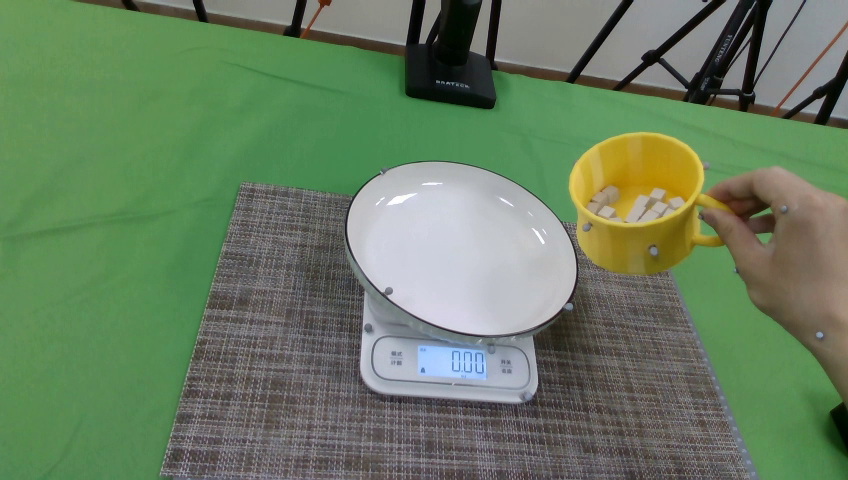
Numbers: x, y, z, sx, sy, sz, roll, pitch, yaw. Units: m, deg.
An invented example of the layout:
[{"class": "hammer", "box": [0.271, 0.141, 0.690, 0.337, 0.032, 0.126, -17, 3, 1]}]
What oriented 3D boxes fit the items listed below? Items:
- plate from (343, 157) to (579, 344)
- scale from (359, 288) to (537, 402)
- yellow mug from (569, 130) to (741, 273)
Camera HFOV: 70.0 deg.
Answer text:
[{"class": "plate", "box": [0.031, 0.007, 0.535, 0.210, 0.038, 0.207, 8, 46, -8]}, {"class": "scale", "box": [0.021, 0.046, 0.541, 0.149, 0.032, 0.199, 7, 46, -9]}, {"class": "yellow mug", "box": [0.185, -0.027, 0.486, 0.130, 0.064, 0.099, 20, 63, 32]}]
